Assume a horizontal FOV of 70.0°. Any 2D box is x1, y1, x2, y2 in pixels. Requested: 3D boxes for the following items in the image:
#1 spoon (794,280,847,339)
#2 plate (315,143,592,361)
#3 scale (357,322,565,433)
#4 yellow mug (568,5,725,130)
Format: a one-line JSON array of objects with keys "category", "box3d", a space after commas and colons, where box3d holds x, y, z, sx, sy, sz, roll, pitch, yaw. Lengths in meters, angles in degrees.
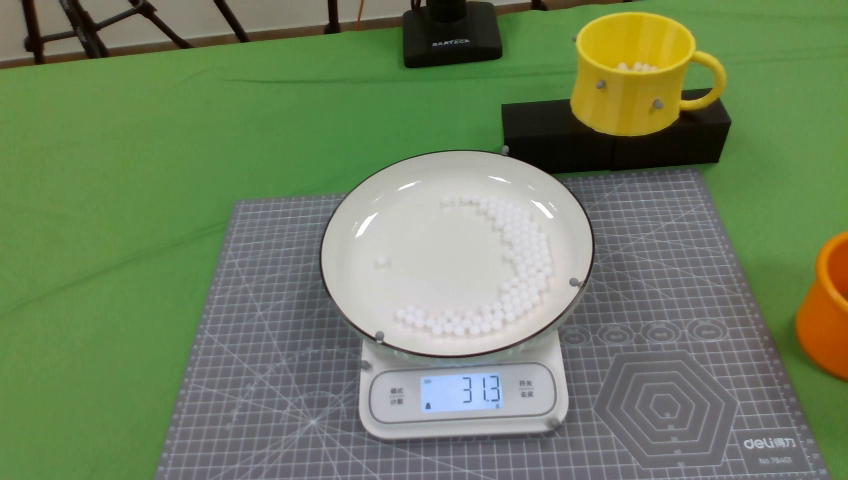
[{"category": "spoon", "box3d": [0.339, 0.011, 0.394, 0.022, 0.194, 0.041, 26, 39, -29]}, {"category": "plate", "box3d": [0.022, 0.005, 0.469, 0.209, 0.038, 0.207, -3, 50, 4]}, {"category": "scale", "box3d": [0.025, 0.049, 0.475, 0.148, 0.032, 0.199, -4, 50, 4]}, {"category": "yellow mug", "box3d": [0.198, -0.153, 0.541, 0.130, 0.064, 0.099, 13, 53, 17]}]
